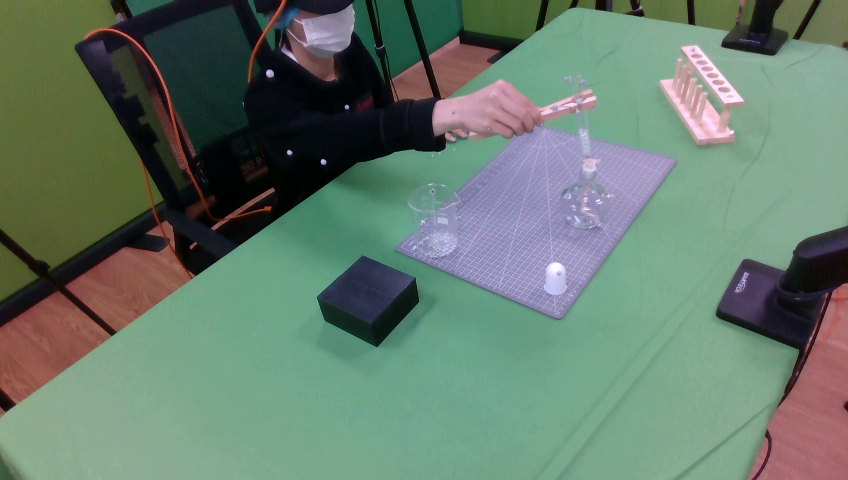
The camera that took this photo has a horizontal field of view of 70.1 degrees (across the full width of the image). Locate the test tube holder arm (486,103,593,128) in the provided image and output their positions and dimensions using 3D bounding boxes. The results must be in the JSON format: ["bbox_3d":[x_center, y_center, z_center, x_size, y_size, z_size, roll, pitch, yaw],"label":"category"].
[{"bbox_3d":[0.157,-0.167,0.806,0.179,0.013,0.015,-14,35,-30],"label":"test tube holder arm"}]

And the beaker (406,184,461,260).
[{"bbox_3d":[0.019,-0.026,0.939,0.084,0.101,0.074,1,41,10],"label":"beaker"}]

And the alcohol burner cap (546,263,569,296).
[{"bbox_3d":[0.191,0.053,0.862,0.034,0.048,0.033,-5,40,4],"label":"alcohol burner cap"}]

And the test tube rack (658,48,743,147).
[{"bbox_3d":[0.532,-0.284,1.181,0.067,0.085,0.241,-5,40,4],"label":"test tube rack"}]

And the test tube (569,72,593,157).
[{"bbox_3d":[0.224,-0.173,0.857,0.017,0.151,0.017,-12,49,15],"label":"test tube"}]

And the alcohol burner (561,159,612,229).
[{"bbox_3d":[0.257,-0.077,0.951,0.078,0.119,0.077,-3,40,3],"label":"alcohol burner"}]

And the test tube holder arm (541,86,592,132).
[{"bbox_3d":[0.195,-0.179,0.827,0.088,0.010,0.015,-41,42,-9],"label":"test tube holder arm"}]
